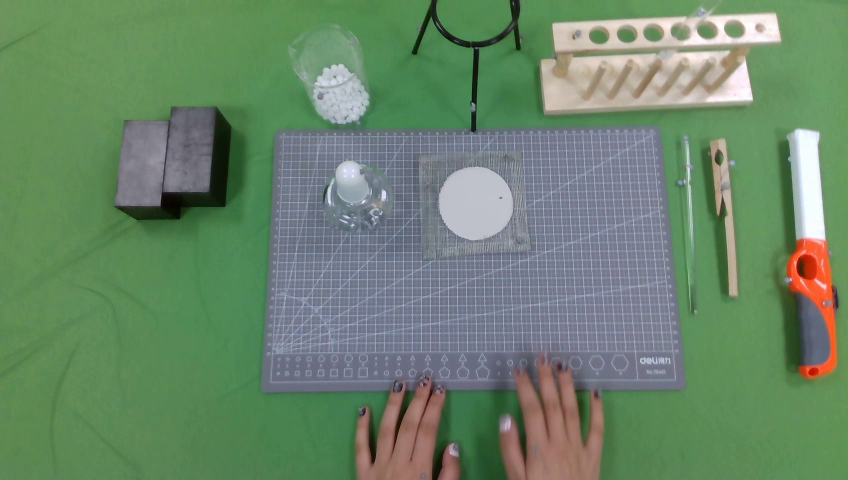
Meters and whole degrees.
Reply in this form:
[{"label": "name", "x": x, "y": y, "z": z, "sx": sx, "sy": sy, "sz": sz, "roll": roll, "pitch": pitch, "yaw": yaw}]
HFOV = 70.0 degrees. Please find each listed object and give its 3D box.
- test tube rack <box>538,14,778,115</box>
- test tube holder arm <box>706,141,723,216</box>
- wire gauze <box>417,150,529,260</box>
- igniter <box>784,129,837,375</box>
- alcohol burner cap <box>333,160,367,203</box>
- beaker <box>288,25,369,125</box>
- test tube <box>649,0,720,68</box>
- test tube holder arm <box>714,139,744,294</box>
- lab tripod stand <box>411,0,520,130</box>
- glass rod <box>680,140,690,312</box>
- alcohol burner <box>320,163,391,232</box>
[{"label": "test tube rack", "x": 0.259, "y": -0.196, "z": 0.686, "sx": 0.242, "sy": 0.085, "sz": 0.066, "roll": -3, "pitch": 76, "yaw": 0}, {"label": "test tube holder arm", "x": 0.334, "y": -0.070, "z": 0.691, "sx": 0.010, "sy": 0.015, "sz": 0.087, "roll": -11, "pitch": 73, "yaw": 37}, {"label": "wire gauze", "x": 0.054, "y": -0.042, "z": 0.688, "sx": 0.121, "sy": 0.011, "sz": 0.124, "roll": -3, "pitch": 80, "yaw": -1}, {"label": "igniter", "x": 0.422, "y": 0.009, "z": 0.666, "sx": 0.057, "sy": 0.025, "sz": 0.275, "roll": 7, "pitch": 77, "yaw": -8}, {"label": "alcohol burner cap", "x": -0.075, "y": -0.061, "z": 0.602, "sx": 0.034, "sy": 0.048, "sz": 0.033, "roll": 1, "pitch": 67, "yaw": -2}, {"label": "beaker", "x": -0.103, "y": -0.180, "z": 0.677, "sx": 0.084, "sy": 0.101, "sz": 0.073, "roll": 18, "pitch": 77, "yaw": 5}, {"label": "test tube", "x": 0.277, "y": -0.224, "z": 0.642, "sx": 0.017, "sy": 0.150, "sz": 0.017, "roll": 1, "pitch": 76, "yaw": -5}, {"label": "test tube holder arm", "x": 0.339, "y": -0.028, "z": 0.677, "sx": 0.013, "sy": 0.015, "sz": 0.177, "roll": -13, "pitch": 72, "yaw": 36}, {"label": "lab tripod stand", "x": 0.048, "y": -0.215, "z": 0.666, "sx": 0.148, "sy": 0.132, "sz": 0.147, "roll": -1, "pitch": 76, "yaw": 2}, {"label": "glass rod", "x": 0.295, "y": -0.018, "z": 0.683, "sx": 0.008, "sy": 0.008, "sz": 0.199, "roll": 3, "pitch": 80, "yaw": 1}, {"label": "alcohol burner", "x": -0.074, "y": -0.050, "z": 0.636, "sx": 0.078, "sy": 0.120, "sz": 0.077, "roll": 0, "pitch": 75, "yaw": 2}]
